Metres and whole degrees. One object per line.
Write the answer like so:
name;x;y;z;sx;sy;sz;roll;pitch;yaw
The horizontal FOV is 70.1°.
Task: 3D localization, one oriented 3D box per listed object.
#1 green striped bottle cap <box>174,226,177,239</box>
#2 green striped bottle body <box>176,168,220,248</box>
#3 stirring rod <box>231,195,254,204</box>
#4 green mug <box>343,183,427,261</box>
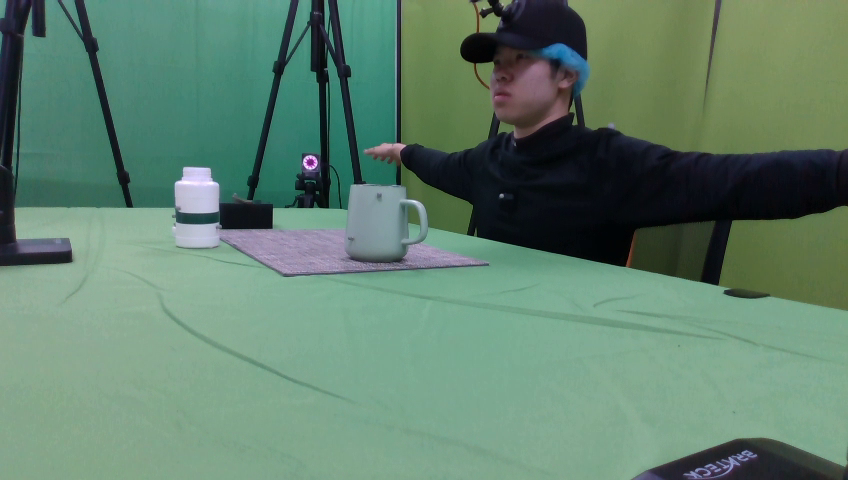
green striped bottle cap;-0.404;-0.015;1.036;0.044;0.020;0.044;-1;9;1
green striped bottle body;-0.345;-0.050;0.924;0.063;0.119;0.063;2;7;0
stirring rod;-0.372;-0.083;1.235;0.014;0.006;0.175;0;8;-28
green mug;-0.053;-0.026;0.847;0.125;0.105;0.093;6;8;27
